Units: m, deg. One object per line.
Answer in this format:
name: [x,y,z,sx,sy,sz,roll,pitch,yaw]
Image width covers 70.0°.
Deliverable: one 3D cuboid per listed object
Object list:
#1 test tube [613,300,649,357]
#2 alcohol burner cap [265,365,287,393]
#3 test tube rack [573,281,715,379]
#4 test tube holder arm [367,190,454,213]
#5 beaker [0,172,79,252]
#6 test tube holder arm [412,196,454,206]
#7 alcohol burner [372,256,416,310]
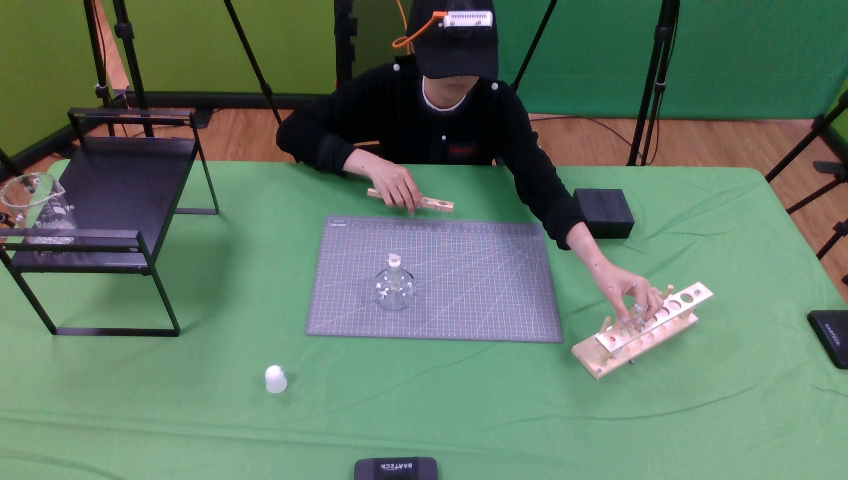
test tube: [0.326,0.144,0.962,0.017,0.151,0.017,2,49,-2]
alcohol burner cap: [-0.236,0.216,0.956,0.034,0.048,0.033,3,45,-3]
test tube rack: [0.378,0.140,1.038,0.242,0.085,0.066,-22,51,-23]
test tube holder arm: [-0.028,-0.079,1.228,0.178,0.015,0.013,10,39,2]
beaker: [-0.557,-0.038,0.889,0.084,0.101,0.073,-3,47,-8]
test tube holder arm: [0.018,-0.075,1.230,0.088,0.015,0.010,11,39,4]
alcohol burner: [-0.052,0.068,1.057,0.078,0.120,0.077,1,48,-1]
